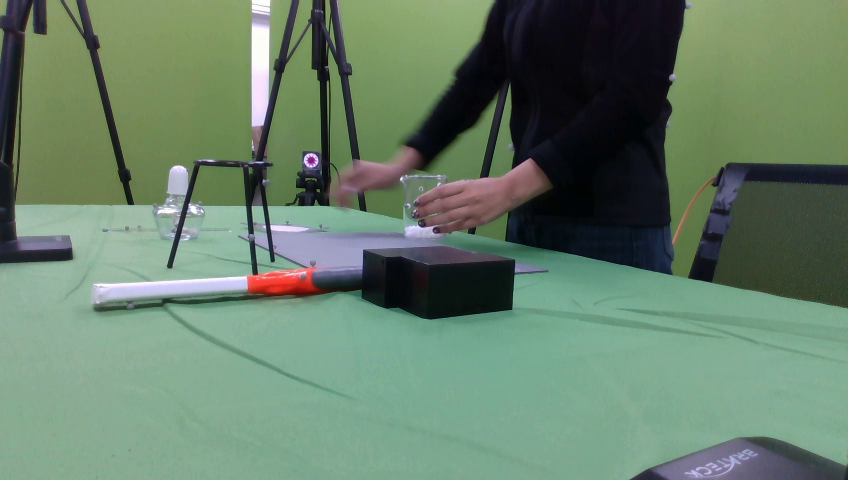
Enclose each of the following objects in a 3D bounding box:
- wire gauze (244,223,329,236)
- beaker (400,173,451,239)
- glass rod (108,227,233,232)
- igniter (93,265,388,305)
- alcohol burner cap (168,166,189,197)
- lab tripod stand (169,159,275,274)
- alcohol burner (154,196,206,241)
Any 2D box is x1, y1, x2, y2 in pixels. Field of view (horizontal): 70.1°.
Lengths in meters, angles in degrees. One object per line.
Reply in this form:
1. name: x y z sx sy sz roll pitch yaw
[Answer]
1. wire gauze: -0.266 -0.024 1.156 0.124 0.011 0.122 12 12 40
2. beaker: 0.001 -0.054 0.947 0.084 0.100 0.073 -5 9 -30
3. glass rod: -0.437 -0.019 1.054 0.201 0.008 0.008 -1 8 -27
4. igniter: -0.164 0.042 0.589 0.278 0.025 0.057 -2 -6 -31
5. alcohol burner cap: -0.392 -0.095 0.970 0.034 0.048 0.034 7 7 -1
6. lab tripod stand: -0.230 -0.030 0.724 0.148 0.131 0.148 2 9 0
7. alcohol burner: -0.393 -0.059 0.974 0.078 0.119 0.078 1 8 0
